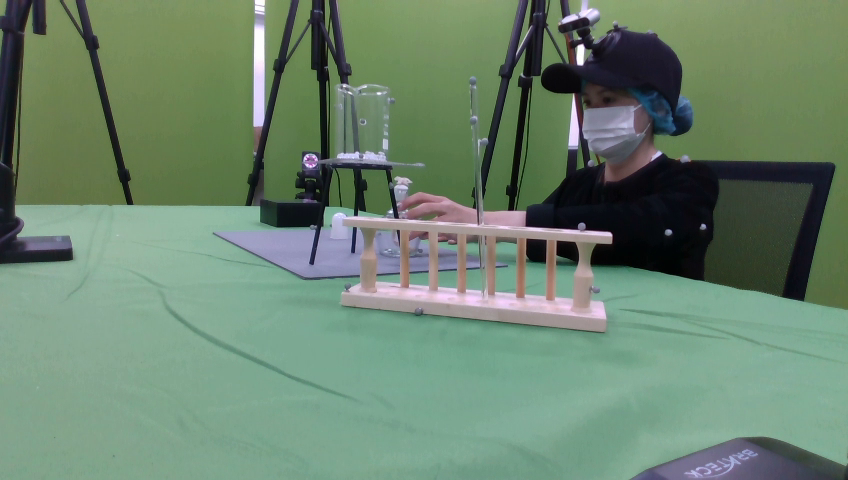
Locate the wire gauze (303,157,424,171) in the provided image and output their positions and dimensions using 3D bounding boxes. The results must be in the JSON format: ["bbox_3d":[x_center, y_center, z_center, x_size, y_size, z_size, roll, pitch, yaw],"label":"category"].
[{"bbox_3d":[-0.082,-0.101,0.799,0.126,0.011,0.121,1,7,-30],"label":"wire gauze"}]

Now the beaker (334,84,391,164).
[{"bbox_3d":[-0.082,-0.149,0.792,0.074,0.100,0.084,2,5,4],"label":"beaker"}]

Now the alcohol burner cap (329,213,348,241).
[{"bbox_3d":[-0.148,-0.024,1.050,0.034,0.048,0.034,3,7,0],"label":"alcohol burner cap"}]

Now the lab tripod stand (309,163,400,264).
[{"bbox_3d":[-0.091,-0.037,0.813,0.148,0.131,0.148,1,6,0],"label":"lab tripod stand"}]

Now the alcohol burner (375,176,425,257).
[{"bbox_3d":[-0.035,-0.035,0.889,0.078,0.119,0.078,3,5,0],"label":"alcohol burner"}]

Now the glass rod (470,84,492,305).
[{"bbox_3d":[0.051,-0.036,0.535,0.008,0.199,0.008,-5,10,1],"label":"glass rod"}]

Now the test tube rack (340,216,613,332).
[{"bbox_3d":[0.047,0.026,0.568,0.242,0.085,0.067,4,8,13],"label":"test tube rack"}]
